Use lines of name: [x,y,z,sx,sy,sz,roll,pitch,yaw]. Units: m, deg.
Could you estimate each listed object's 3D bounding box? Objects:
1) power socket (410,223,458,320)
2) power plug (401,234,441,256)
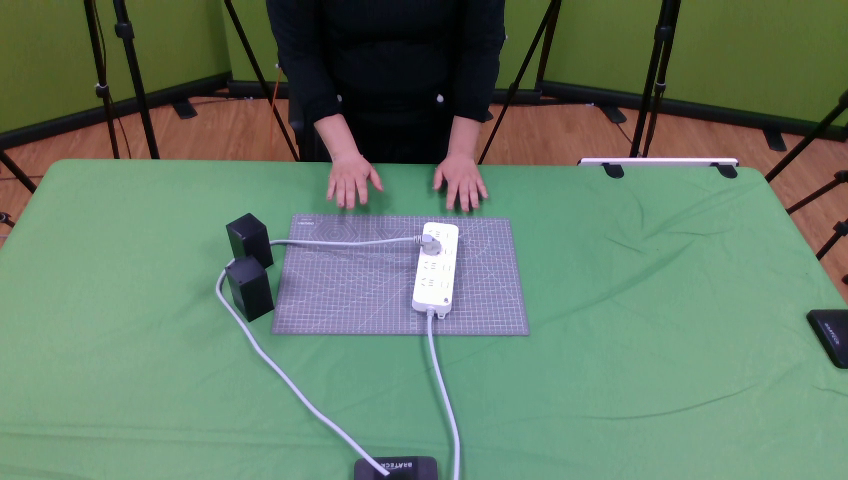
power socket: [0.022,0.050,1.139,0.072,0.033,0.225,6,46,3]
power plug: [-0.003,0.010,1.150,0.072,0.053,0.035,13,46,11]
